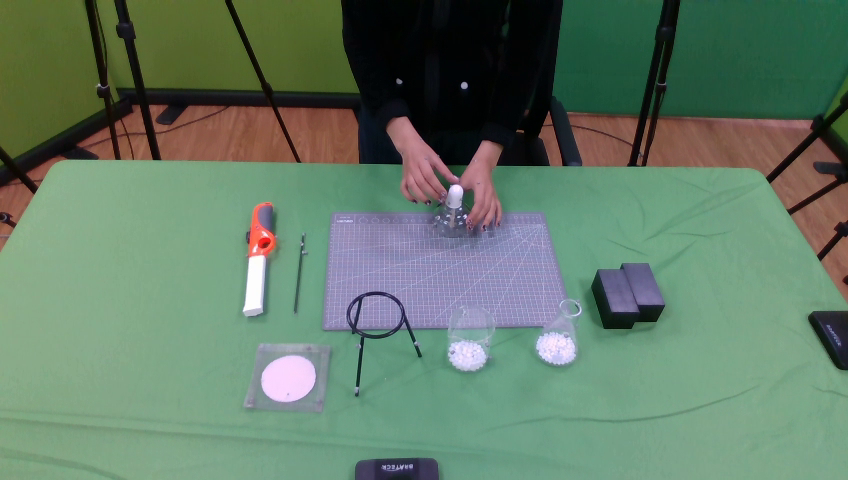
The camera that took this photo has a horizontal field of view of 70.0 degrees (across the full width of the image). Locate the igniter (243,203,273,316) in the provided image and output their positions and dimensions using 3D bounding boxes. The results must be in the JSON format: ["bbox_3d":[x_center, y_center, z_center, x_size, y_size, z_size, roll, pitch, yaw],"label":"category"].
[{"bbox_3d":[-0.315,0.027,1.145,0.057,0.025,0.274,-10,47,0],"label":"igniter"}]

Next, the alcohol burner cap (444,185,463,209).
[{"bbox_3d":[0.058,-0.086,1.170,0.034,0.048,0.033,5,51,-6],"label":"alcohol burner cap"}]

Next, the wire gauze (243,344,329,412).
[{"bbox_3d":[-0.221,0.219,0.981,0.125,0.011,0.120,2,45,0],"label":"wire gauze"}]

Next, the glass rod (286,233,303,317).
[{"bbox_3d":[-0.242,0.061,1.135,0.008,0.008,0.198,2,47,-2],"label":"glass rod"}]

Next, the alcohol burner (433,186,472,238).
[{"bbox_3d":[0.057,-0.062,1.197,0.078,0.120,0.077,1,48,-1],"label":"alcohol burner"}]

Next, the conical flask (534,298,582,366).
[{"bbox_3d":[0.229,0.149,1.005,0.075,0.122,0.075,2,46,-2],"label":"conical flask"}]

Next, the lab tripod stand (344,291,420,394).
[{"bbox_3d":[-0.075,0.155,0.967,0.148,0.132,0.147,3,44,-3],"label":"lab tripod stand"}]

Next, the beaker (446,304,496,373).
[{"bbox_3d":[0.072,0.166,0.992,0.084,0.101,0.073,-21,51,-22],"label":"beaker"}]
